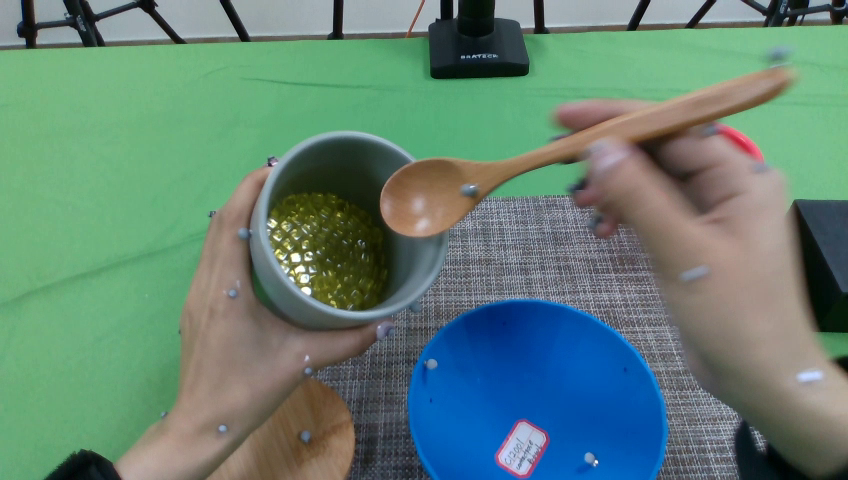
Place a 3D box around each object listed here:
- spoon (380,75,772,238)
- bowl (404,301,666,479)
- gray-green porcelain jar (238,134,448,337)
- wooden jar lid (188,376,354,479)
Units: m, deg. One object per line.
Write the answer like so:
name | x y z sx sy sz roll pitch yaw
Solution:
spoon | 0.049 -0.034 0.272 0.022 0.041 0.193 -10 -3 -45
bowl | 0.065 0.121 0.381 0.151 0.077 0.150 0 47 1
gray-green porcelain jar | -0.058 0.006 0.379 0.106 0.126 0.105 5 76 -22
wooden jar lid | -0.100 0.142 0.404 0.108 0.021 0.107 -1 46 2
